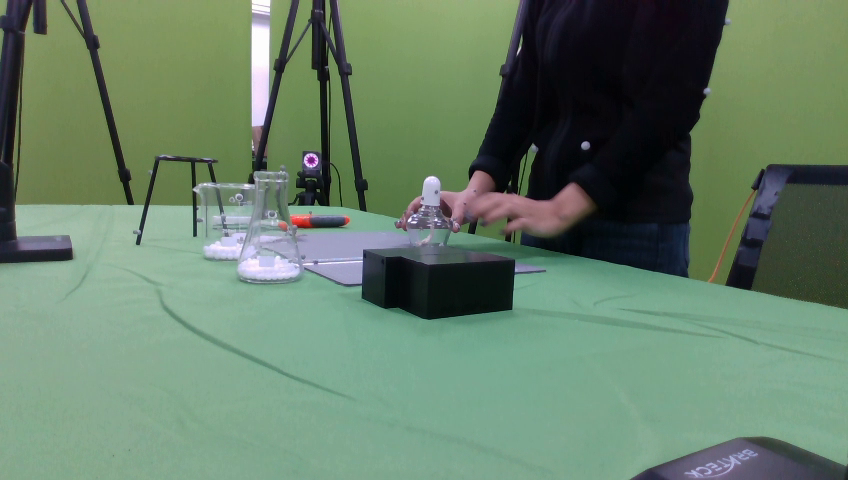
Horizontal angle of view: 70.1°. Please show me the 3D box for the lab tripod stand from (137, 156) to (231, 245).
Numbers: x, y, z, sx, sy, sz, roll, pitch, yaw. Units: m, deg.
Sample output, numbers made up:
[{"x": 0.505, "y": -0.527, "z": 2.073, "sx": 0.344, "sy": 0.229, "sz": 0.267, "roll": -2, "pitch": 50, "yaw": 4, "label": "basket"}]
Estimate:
[{"x": -0.358, "y": -0.061, "z": 0.927, "sx": 0.148, "sy": 0.131, "sz": 0.148, "roll": 4, "pitch": 6, "yaw": 0, "label": "lab tripod stand"}]

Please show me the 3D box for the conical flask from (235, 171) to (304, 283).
[{"x": -0.172, "y": -0.016, "z": 0.677, "sx": 0.075, "sy": 0.122, "sz": 0.075, "roll": 2, "pitch": 7, "yaw": 0, "label": "conical flask"}]

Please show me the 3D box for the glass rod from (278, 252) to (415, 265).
[{"x": -0.097, "y": 0.024, "z": 0.805, "sx": 0.201, "sy": 0.008, "sz": 0.008, "roll": -3, "pitch": 8, "yaw": -33, "label": "glass rod"}]

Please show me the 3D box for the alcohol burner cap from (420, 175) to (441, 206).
[{"x": 0.012, "y": -0.079, "z": 0.956, "sx": 0.034, "sy": 0.048, "sz": 0.034, "roll": 5, "pitch": 12, "yaw": -1, "label": "alcohol burner cap"}]

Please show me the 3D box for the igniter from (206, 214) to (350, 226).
[{"x": -0.279, "y": -0.038, "z": 1.185, "sx": 0.278, "sy": 0.025, "sz": 0.057, "roll": -2, "pitch": -1, "yaw": -30, "label": "igniter"}]

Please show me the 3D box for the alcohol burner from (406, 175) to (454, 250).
[{"x": 0.011, "y": -0.044, "z": 0.963, "sx": 0.078, "sy": 0.119, "sz": 0.078, "roll": 4, "pitch": 7, "yaw": 0, "label": "alcohol burner"}]

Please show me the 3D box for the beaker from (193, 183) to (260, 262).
[{"x": -0.262, "y": -0.025, "z": 0.806, "sx": 0.084, "sy": 0.100, "sz": 0.073, "roll": -3, "pitch": 9, "yaw": -30, "label": "beaker"}]

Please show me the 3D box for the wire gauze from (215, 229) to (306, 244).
[{"x": -0.273, "y": -0.009, "z": 1.012, "sx": 0.122, "sy": 0.011, "sz": 0.124, "roll": -2, "pitch": 9, "yaw": -33, "label": "wire gauze"}]
